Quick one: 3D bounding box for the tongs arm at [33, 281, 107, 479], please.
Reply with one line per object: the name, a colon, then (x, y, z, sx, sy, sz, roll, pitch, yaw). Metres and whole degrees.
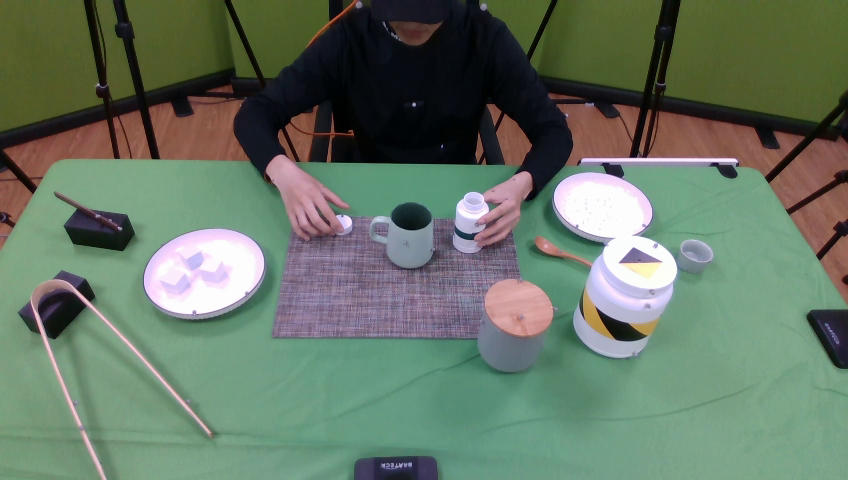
tongs arm: (-0.517, 0.214, 0.910, 0.051, 0.026, 0.383, -28, 63, -27)

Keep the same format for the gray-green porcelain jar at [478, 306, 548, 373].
gray-green porcelain jar: (0.144, 0.148, 0.989, 0.106, 0.127, 0.105, 2, 50, -2)

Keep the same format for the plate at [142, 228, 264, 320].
plate: (-0.394, 0.064, 1.095, 0.208, 0.039, 0.206, 2, 46, -2)

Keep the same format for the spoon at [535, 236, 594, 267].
spoon: (0.303, 0.040, 1.178, 0.193, 0.022, 0.041, 25, 31, 19)

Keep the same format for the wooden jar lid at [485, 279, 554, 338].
wooden jar lid: (0.147, 0.108, 0.940, 0.108, 0.021, 0.107, 4, 47, -4)

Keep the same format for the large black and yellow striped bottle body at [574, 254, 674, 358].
large black and yellow striped bottle body: (0.335, 0.096, 1.014, 0.131, 0.185, 0.130, 2, 46, -2)

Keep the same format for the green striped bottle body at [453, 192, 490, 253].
green striped bottle body: (0.091, -0.036, 1.163, 0.063, 0.120, 0.063, 2, 46, -2)

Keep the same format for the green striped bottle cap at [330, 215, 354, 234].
green striped bottle cap: (-0.164, -0.031, 1.208, 0.044, 0.020, 0.044, -8, 33, 5)

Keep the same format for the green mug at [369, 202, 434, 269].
green mug: (-0.043, -0.010, 1.140, 0.125, 0.105, 0.092, 7, 46, 4)

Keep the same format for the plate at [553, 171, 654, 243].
plate: (0.373, -0.066, 1.275, 0.209, 0.038, 0.208, 2, 46, -2)

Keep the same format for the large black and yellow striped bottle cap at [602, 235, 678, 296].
large black and yellow striped bottle cap: (0.340, 0.037, 0.956, 0.115, 0.019, 0.114, 2, 47, -2)

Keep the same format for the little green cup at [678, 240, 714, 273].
little green cup: (0.531, 0.033, 1.190, 0.061, 0.039, 0.061, 2, 46, -1)

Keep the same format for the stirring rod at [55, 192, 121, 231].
stirring rod: (-0.632, -0.055, 1.138, 0.175, 0.014, 0.006, 24, 50, 19)

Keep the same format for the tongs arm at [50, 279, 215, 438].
tongs arm: (-0.459, 0.178, 0.949, 0.386, 0.028, 0.028, 37, 60, 17)
